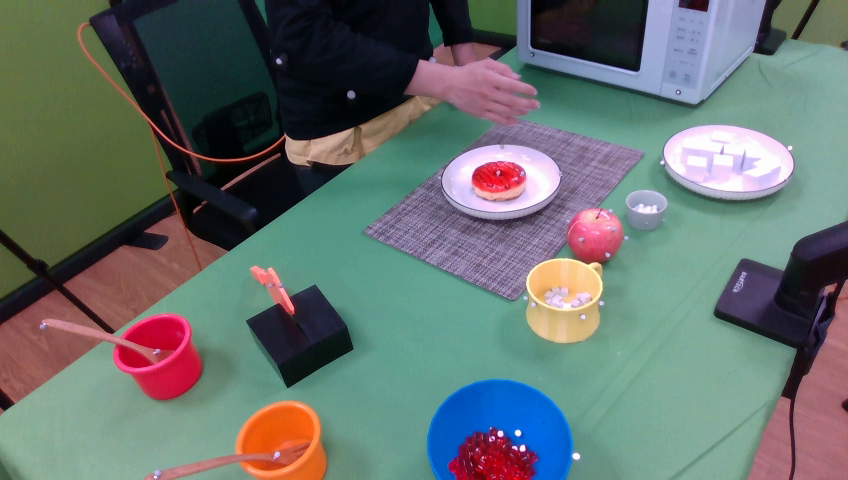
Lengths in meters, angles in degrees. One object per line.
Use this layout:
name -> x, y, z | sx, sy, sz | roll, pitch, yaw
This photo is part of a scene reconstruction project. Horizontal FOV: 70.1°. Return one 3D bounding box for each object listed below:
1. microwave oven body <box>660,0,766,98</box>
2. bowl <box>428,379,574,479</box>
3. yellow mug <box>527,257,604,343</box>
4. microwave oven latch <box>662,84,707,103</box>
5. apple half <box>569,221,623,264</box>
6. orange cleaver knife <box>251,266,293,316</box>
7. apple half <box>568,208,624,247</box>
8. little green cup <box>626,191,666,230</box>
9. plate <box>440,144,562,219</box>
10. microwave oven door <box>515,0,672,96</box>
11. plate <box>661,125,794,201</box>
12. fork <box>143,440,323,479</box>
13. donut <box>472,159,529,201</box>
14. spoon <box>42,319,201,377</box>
microwave oven body -> 0.472, -0.513, 1.317 | 0.438, 0.261, 0.327 | 26, 51, 34
bowl -> 0.082, 0.233, 0.644 | 0.151, 0.077, 0.150 | -4, 40, 4
yellow mug -> 0.201, 0.072, 0.825 | 0.131, 0.064, 0.099 | -32, 46, -27
microwave oven latch -> 0.517, -0.296, 1.204 | 0.078, 0.029, 0.030 | 27, 52, 35
apple half -> 0.251, 0.010, 0.884 | 0.081, 0.081, 0.032 | 3, 37, 12
orange cleaver knife -> -0.221, 0.071, 0.873 | 0.012, 0.077, 0.210 | -25, 11, -21
apple half -> 0.259, -0.014, 0.914 | 0.080, 0.075, 0.053 | 0, 36, 15
little green cup -> 0.352, -0.046, 0.963 | 0.061, 0.039, 0.061 | -4, 40, 4
plate -> 0.134, -0.098, 1.051 | 0.209, 0.038, 0.208 | -4, 40, 4
microwave oven door -> 0.343, -0.454, 1.259 | 0.353, 0.245, 0.039 | 26, 51, 33
plate -> 0.513, -0.128, 1.035 | 0.207, 0.039, 0.206 | -4, 40, 4
fork -> -0.189, 0.231, 0.631 | 0.028, 0.018, 0.209 | 37, 14, 37
donut -> 0.131, -0.105, 1.043 | 0.099, 0.048, 0.098 | -5, 38, 4
spoon -> -0.385, 0.135, 0.779 | 0.195, 0.021, 0.041 | 29, 37, -26
